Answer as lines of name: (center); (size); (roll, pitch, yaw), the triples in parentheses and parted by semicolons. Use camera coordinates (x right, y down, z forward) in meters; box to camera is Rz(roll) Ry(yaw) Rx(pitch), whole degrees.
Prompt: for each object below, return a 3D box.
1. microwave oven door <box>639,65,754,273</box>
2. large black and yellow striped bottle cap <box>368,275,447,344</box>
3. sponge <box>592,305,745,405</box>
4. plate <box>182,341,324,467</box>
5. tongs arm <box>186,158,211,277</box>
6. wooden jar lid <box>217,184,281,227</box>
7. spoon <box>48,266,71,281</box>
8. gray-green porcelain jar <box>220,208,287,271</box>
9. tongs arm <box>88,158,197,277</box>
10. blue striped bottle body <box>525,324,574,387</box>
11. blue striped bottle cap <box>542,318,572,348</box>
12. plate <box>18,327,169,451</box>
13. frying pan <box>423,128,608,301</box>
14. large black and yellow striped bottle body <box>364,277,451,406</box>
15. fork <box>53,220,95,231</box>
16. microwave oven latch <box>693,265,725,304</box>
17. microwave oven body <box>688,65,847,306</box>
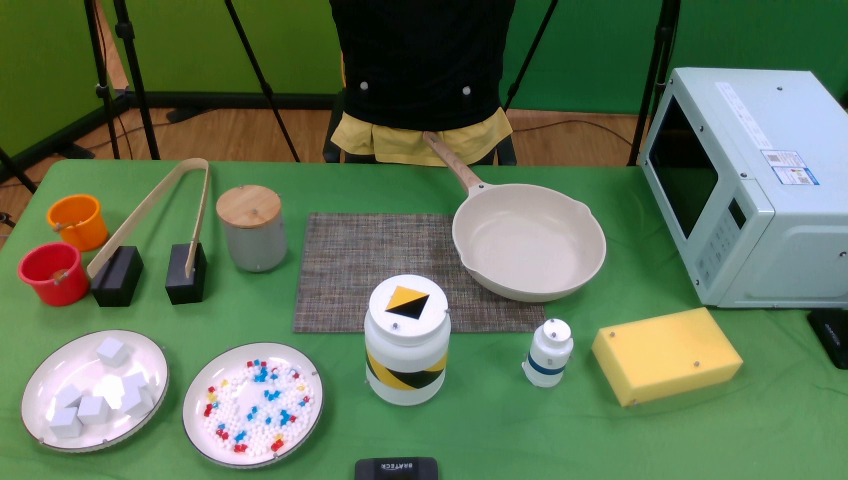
microwave oven door: (0.522, -0.147, 1.193); (0.039, 0.245, 0.353); (0, 47, -3)
large black and yellow striped bottle cap: (-0.024, 0.098, 0.871); (0.115, 0.019, 0.114); (2, 45, -2)
sponge: (0.405, 0.190, 1.014); (0.207, 0.061, 0.117); (-10, 48, -13)
plate: (-0.257, 0.250, 0.927); (0.209, 0.038, 0.208); (3, 46, -2)
tongs arm: (-0.446, -0.057, 1.168); (0.051, 0.026, 0.382); (-4, 37, -6)
wooden jar lid: (-0.307, -0.057, 1.067); (0.108, 0.021, 0.107); (5, 44, -4)
spoon: (-0.609, 0.057, 1.010); (0.041, 0.022, 0.193); (-33, 14, -27)
gray-green porcelain jar: (-0.309, -0.014, 1.113); (0.106, 0.127, 0.105); (2, 47, -1)
tongs arm: (-0.530, -0.057, 1.163); (0.028, 0.028, 0.385); (1, 36, 7)
blue striped bottle body: (0.202, 0.179, 0.970); (0.063, 0.121, 0.062); (2, 46, -2)
blue striped bottle cap: (0.205, 0.143, 0.933); (0.044, 0.021, 0.044); (0, 47, 0)
plate: (-0.498, 0.229, 0.929); (0.208, 0.039, 0.206); (2, 47, -2)
frying pan: (0.142, -0.069, 1.208); (0.307, 0.103, 0.485); (-23, 60, -25)
large black and yellow striped bottle body: (-0.026, 0.155, 0.933); (0.131, 0.185, 0.130); (2, 47, -2)
fork: (-0.627, -0.027, 1.086); (0.028, 0.018, 0.207); (0, 2, -15)
microwave oven latch: (0.523, 0.081, 1.116); (0.030, 0.029, 0.078); (2, 46, -1)
microwave oven body: (0.669, -0.111, 1.176); (0.326, 0.261, 0.439); (0, 46, -3)
